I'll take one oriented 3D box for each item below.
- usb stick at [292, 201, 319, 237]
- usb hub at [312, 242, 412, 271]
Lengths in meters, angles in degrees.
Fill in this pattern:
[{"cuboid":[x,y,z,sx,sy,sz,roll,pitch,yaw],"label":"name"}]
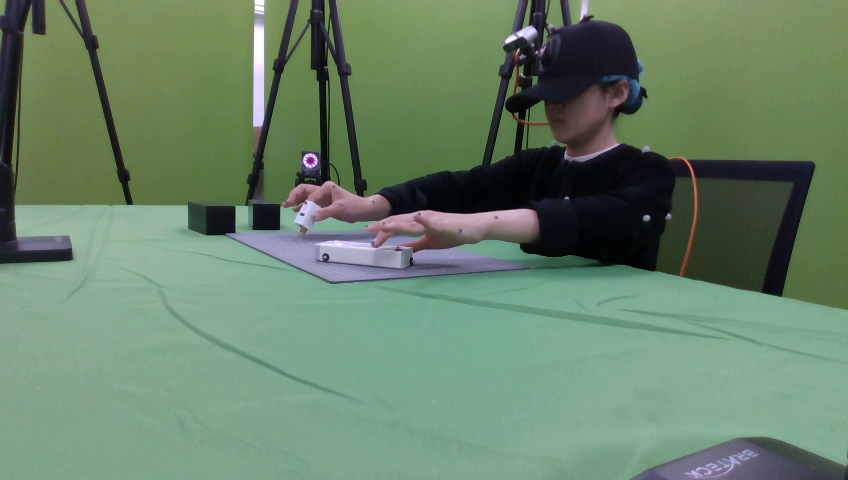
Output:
[{"cuboid":[-0.203,-0.034,1.019,0.021,0.059,0.027,17,-11,34],"label":"usb stick"},{"cuboid":[-0.082,0.021,0.803,0.125,0.025,0.049,5,8,18],"label":"usb hub"}]
